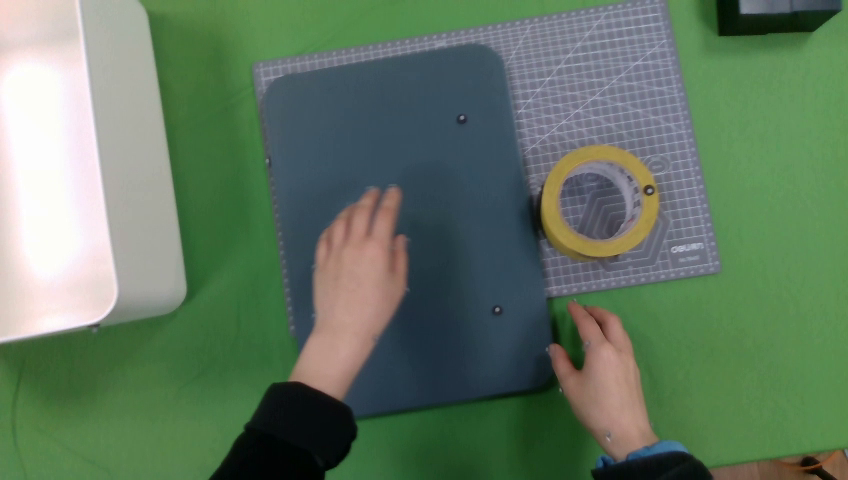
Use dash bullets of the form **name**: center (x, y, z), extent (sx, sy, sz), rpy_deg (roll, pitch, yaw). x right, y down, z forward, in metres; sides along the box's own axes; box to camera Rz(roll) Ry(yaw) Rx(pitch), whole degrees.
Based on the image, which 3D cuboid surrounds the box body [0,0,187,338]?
- **box body**: center (-0.394, -0.088, 0.577), extent (0.254, 0.160, 0.363), rpy_deg (-11, 85, 1)

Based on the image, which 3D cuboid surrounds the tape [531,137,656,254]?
- **tape**: center (0.169, -0.042, 0.605), extent (0.117, 0.053, 0.116), rpy_deg (0, 86, 3)

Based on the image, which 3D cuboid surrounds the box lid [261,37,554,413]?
- **box lid**: center (-0.020, -0.022, 0.632), extent (0.263, 0.015, 0.370), rpy_deg (-9, 86, 1)
